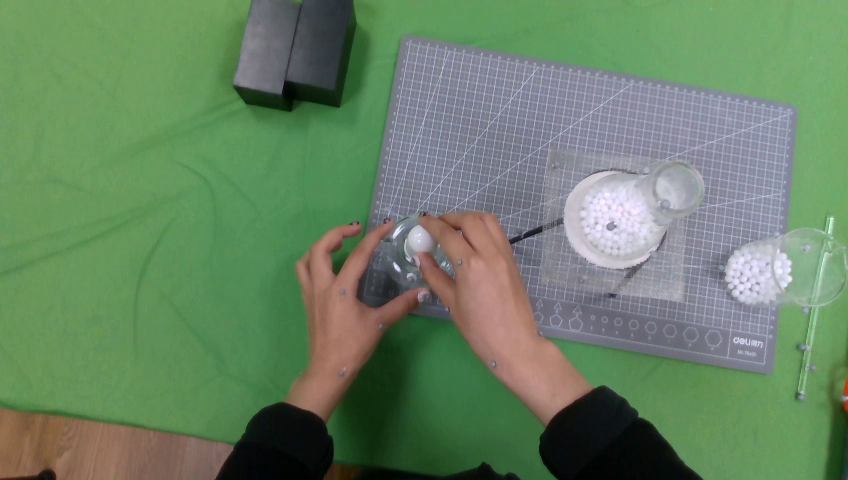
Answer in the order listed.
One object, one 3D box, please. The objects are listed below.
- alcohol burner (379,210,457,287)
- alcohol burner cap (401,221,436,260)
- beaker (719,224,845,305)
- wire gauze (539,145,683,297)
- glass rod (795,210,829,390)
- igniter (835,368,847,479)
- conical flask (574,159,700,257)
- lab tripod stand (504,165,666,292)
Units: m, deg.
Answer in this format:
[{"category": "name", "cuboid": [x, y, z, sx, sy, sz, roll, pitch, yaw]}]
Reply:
[{"category": "alcohol burner", "cuboid": [-0.005, 0.005, 0.588, 0.078, 0.119, 0.077, 0, 81, -3]}, {"category": "alcohol burner cap", "cuboid": [-0.004, -0.002, 0.553, 0.034, 0.048, 0.033, 1, 76, -5]}, {"category": "beaker", "cuboid": [0.354, 0.026, 0.607, 0.084, 0.100, 0.074, -27, 85, -6]}, {"category": "wire gauze", "cuboid": [0.161, -0.017, 0.522, 0.125, 0.011, 0.121, 6, 85, -4]}, {"category": "glass rod", "cuboid": [0.420, 0.063, 0.654, 0.008, 0.008, 0.199, 14, 83, -1]}, {"category": "igniter", "cuboid": [0.469, 0.130, 0.638, 0.057, 0.025, 0.276, 13, 83, -10]}, {"category": "conical flask", "cuboid": [0.165, -0.029, 0.464, 0.075, 0.122, 0.075, 0, 83, -1]}, {"category": "lab tripod stand", "cuboid": [0.160, -0.011, 0.587, 0.148, 0.131, 0.148, 0, 84, -1]}]
